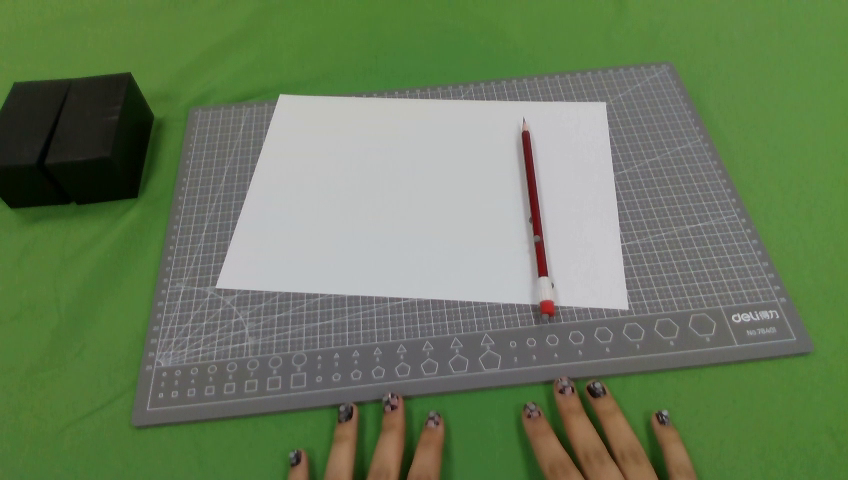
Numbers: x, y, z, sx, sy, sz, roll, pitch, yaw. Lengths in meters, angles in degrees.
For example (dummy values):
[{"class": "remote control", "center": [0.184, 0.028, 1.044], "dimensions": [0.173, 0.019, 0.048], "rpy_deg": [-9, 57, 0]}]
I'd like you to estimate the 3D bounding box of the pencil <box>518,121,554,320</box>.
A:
[{"class": "pencil", "center": [0.084, -0.025, 0.471], "dimensions": [0.012, 0.012, 0.192], "rpy_deg": [-2, 55, 2]}]
